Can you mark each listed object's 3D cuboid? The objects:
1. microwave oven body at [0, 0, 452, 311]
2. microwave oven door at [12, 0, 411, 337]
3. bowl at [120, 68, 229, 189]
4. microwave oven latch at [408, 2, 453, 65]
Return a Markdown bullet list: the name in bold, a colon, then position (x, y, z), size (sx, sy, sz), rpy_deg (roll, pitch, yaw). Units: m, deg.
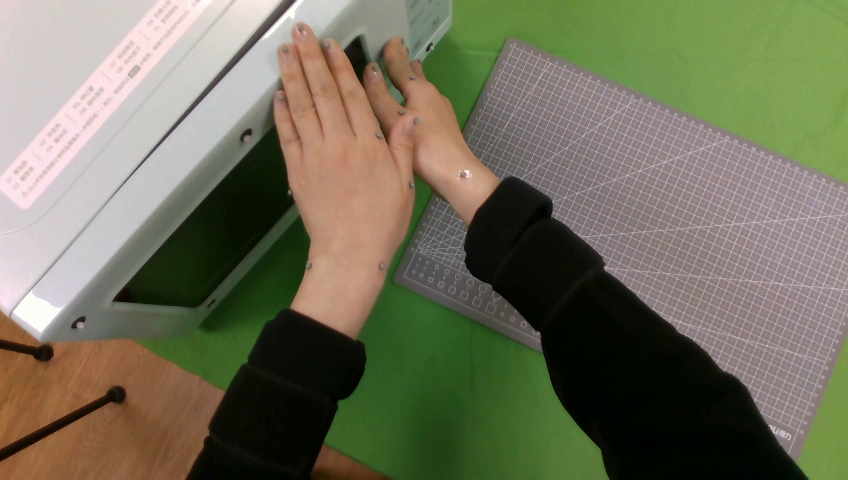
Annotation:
- **microwave oven body**: position (-0.233, -0.190, 0.543), size (0.325, 0.261, 0.441), rpy_deg (39, 86, 5)
- **microwave oven door**: position (-0.144, -0.064, 0.521), size (0.039, 0.244, 0.355), rpy_deg (41, 85, 5)
- **bowl**: position (-0.239, -0.109, 0.565), size (0.151, 0.077, 0.151), rpy_deg (0, 80, 3)
- **microwave oven latch**: position (-0.003, -0.222, 0.639), size (0.030, 0.029, 0.079), rpy_deg (41, 87, 5)
